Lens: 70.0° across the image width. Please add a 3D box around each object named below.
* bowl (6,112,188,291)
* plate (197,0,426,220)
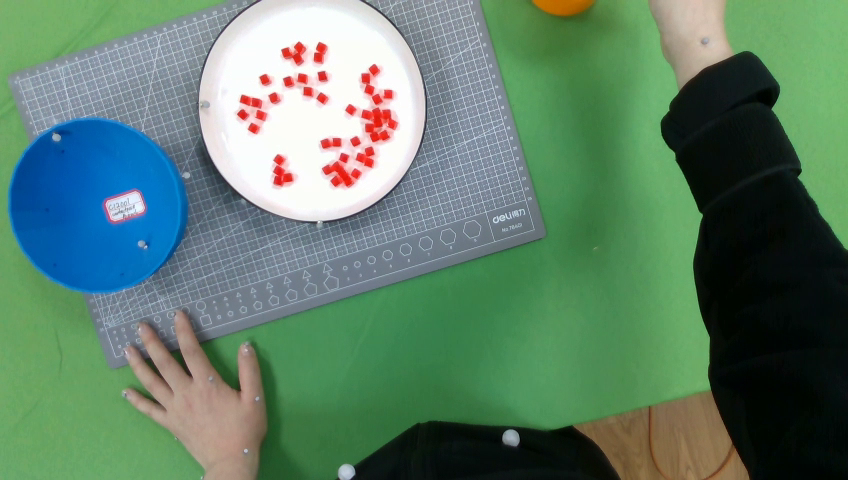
[{"bbox_3d":[-0.278,-0.034,0.549,0.151,0.076,0.151,0,95,1],"label":"bowl"},{"bbox_3d":[-0.100,-0.124,0.559,0.209,0.038,0.209,0,95,1],"label":"plate"}]
